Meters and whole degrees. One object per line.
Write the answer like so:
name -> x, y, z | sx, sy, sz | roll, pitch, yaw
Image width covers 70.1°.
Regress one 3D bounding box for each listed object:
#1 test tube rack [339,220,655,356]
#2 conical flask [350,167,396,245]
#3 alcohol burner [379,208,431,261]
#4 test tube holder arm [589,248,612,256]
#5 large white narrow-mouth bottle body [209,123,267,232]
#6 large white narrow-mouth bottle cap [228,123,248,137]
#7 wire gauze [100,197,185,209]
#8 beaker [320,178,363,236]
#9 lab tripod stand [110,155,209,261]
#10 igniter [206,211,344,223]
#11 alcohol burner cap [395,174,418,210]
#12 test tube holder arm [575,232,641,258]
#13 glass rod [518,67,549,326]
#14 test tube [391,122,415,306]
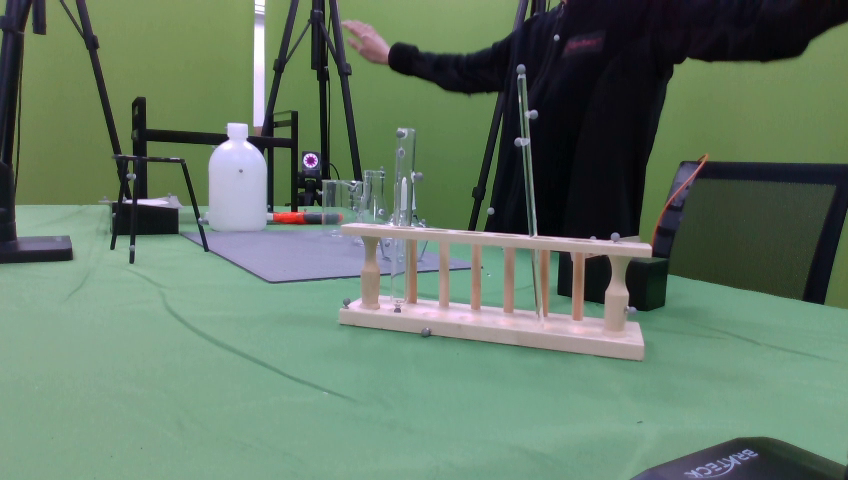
test tube rack -> 0.056, 0.032, 0.495 | 0.242, 0.085, 0.067 | 4, 7, 15
conical flask -> -0.082, -0.055, 0.975 | 0.075, 0.122, 0.075 | 2, 8, 0
alcohol burner -> -0.027, -0.031, 0.838 | 0.078, 0.119, 0.078 | 0, 6, 0
test tube holder arm -> 0.180, 0.006, 0.611 | 0.010, 0.015, 0.088 | -3, 2, 36
large white narrow-mouth bottle body -> -0.340, -0.115, 1.109 | 0.102, 0.194, 0.102 | 2, 8, 0
large white narrow-mouth bottle cap -> -0.338, -0.199, 1.097 | 0.038, 0.024, 0.037 | 2, 8, 0
wire gauze -> -0.469, -0.062, 1.008 | 0.126, 0.011, 0.121 | -2, 8, -25
beaker -> -0.145, -0.059, 1.079 | 0.074, 0.100, 0.083 | -4, 10, -35
lab tripod stand -> -0.361, -0.046, 0.806 | 0.148, 0.131, 0.148 | 2, 5, 0
igniter -> -0.302, -0.048, 1.249 | 0.278, 0.025, 0.057 | -2, -2, -26
alcohol burner cap -> -0.026, -0.067, 0.834 | 0.034, 0.048, 0.034 | -2, 12, 1
test tube holder arm -> 0.202, 0.003, 0.651 | 0.013, 0.015, 0.179 | -3, 2, 36
glass rod -> 0.084, -0.029, 0.459 | 0.008, 0.199, 0.008 | -7, 11, 2
test tube -> -0.017, -0.019, 0.488 | 0.017, 0.150, 0.017 | 2, 11, 0
